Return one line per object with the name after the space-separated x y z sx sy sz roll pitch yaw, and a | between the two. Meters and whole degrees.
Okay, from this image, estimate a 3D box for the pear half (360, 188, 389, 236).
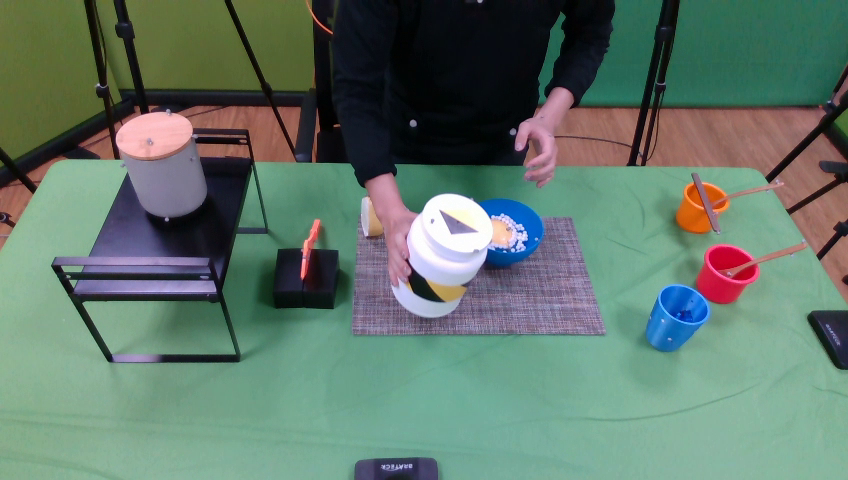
-0.096 -0.060 1.181 0.056 0.110 0.076 -14 52 -17 | pear half

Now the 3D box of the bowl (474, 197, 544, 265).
0.149 -0.004 1.167 0.151 0.077 0.150 3 46 -2 | bowl

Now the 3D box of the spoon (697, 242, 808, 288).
0.601 0.045 1.116 0.194 0.022 0.041 -29 34 30 | spoon

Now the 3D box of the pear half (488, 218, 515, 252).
0.144 -0.013 1.167 0.070 0.031 0.087 -20 55 -19 | pear half

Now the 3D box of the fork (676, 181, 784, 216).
0.618 -0.083 1.235 0.207 0.019 0.028 -23 21 38 | fork

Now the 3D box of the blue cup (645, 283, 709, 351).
0.426 0.139 1.041 0.093 0.101 0.092 4 46 -3 | blue cup

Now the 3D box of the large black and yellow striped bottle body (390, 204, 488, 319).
0.026 0.032 0.993 0.131 0.184 0.130 10 50 -12 | large black and yellow striped bottle body

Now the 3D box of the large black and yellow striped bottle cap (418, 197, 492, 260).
0.049 -0.020 0.931 0.115 0.019 0.114 11 49 -13 | large black and yellow striped bottle cap

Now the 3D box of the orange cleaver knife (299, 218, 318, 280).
-0.214 0.013 1.125 0.012 0.077 0.210 5 17 -5 | orange cleaver knife

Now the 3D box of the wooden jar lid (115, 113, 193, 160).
-0.399 -0.151 0.900 0.108 0.021 0.107 3 46 -3 | wooden jar lid

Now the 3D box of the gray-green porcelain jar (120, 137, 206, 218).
-0.403 -0.106 0.946 0.106 0.127 0.105 3 46 -2 | gray-green porcelain jar

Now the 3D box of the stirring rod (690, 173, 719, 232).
0.566 -0.079 1.225 0.014 0.006 0.175 2 45 2 | stirring rod
